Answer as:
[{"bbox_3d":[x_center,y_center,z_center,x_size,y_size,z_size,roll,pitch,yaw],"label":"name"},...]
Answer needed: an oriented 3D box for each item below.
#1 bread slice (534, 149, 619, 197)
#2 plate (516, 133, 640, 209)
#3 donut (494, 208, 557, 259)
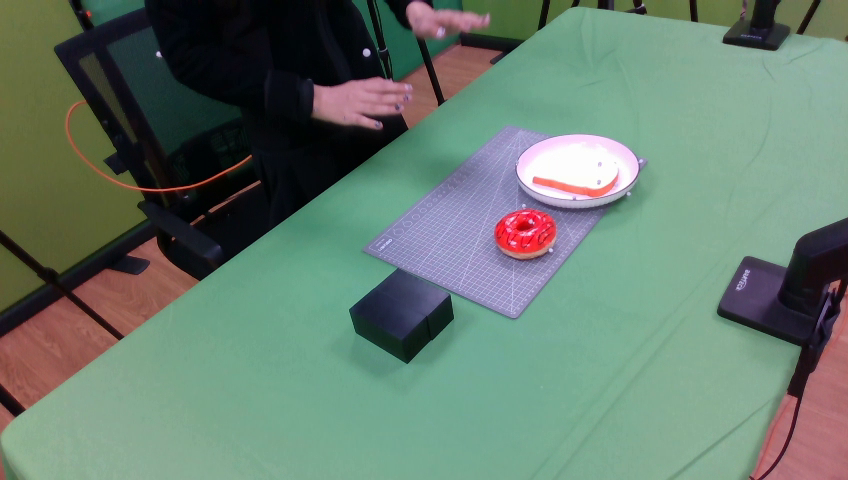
[{"bbox_3d":[0.274,-0.119,1.058,0.130,0.019,0.105,19,48,30],"label":"bread slice"},{"bbox_3d":[0.266,-0.117,1.055,0.209,0.038,0.208,-5,40,5],"label":"plate"},{"bbox_3d":[0.159,-0.011,0.945,0.099,0.048,0.098,-7,41,6],"label":"donut"}]
